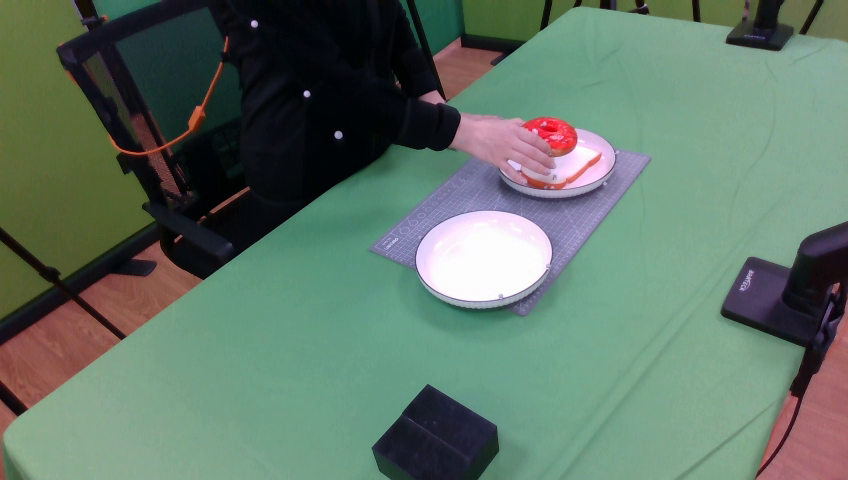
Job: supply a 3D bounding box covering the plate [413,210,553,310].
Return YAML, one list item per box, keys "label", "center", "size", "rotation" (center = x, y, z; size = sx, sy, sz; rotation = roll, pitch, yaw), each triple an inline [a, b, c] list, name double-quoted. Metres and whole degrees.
- label: "plate"
  center: [0.089, 0.033, 0.914]
  size: [0.207, 0.039, 0.206]
  rotation: [-5, 40, 5]

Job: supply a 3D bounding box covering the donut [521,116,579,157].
- label: "donut"
  center: [0.211, -0.172, 1.011]
  size: [0.099, 0.048, 0.098]
  rotation: [3, 36, -2]

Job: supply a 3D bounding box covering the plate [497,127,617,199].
- label: "plate"
  center: [0.236, -0.136, 1.085]
  size: [0.209, 0.038, 0.208]
  rotation: [-5, 40, 5]

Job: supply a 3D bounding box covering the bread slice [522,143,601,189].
- label: "bread slice"
  center: [0.242, -0.137, 1.085]
  size: [0.106, 0.018, 0.134]
  rotation: [21, 50, 34]
